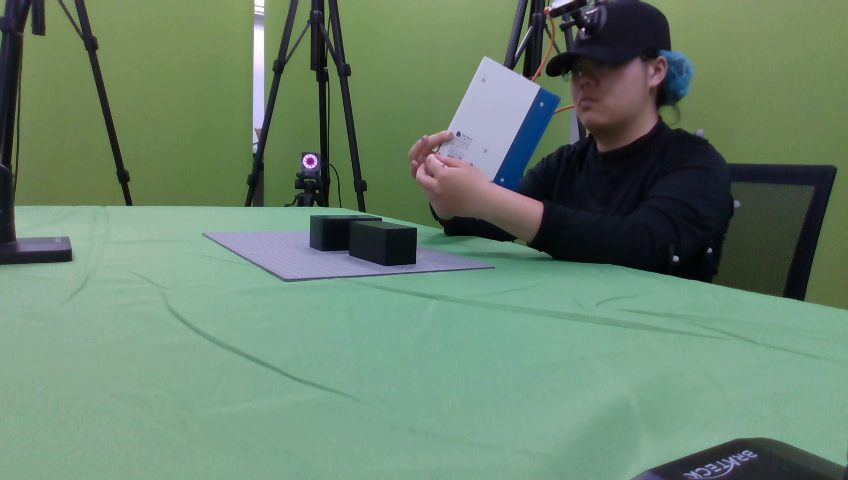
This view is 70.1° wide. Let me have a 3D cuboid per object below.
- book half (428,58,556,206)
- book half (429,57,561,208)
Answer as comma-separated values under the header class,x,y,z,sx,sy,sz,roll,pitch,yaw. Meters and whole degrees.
class,x,y,z,sx,sy,sz,roll,pitch,yaw
book half,0.116,-0.183,1.032,0.143,0.210,0.007,27,4,-4
book half,0.119,-0.178,1.020,0.149,0.210,0.016,26,4,-9
